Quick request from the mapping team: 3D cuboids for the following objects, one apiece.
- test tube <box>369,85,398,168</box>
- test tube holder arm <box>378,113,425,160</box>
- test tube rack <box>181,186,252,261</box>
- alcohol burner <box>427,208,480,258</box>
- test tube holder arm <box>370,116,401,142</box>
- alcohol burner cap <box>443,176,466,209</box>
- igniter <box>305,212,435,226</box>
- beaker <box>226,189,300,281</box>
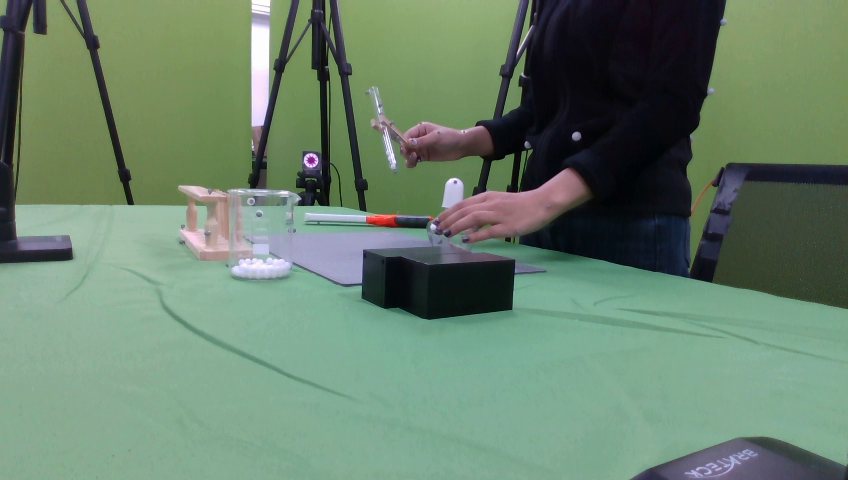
[{"bbox_3d":[-0.066,-0.187,0.993,0.017,0.150,0.017,-14,-15,-4],"label":"test tube"},{"bbox_3d":[-0.036,-0.177,1.054,0.013,0.015,0.179,-18,-20,19],"label":"test tube holder arm"},{"bbox_3d":[-0.312,-0.031,0.893,0.067,0.085,0.241,-1,8,-27],"label":"test tube rack"},{"bbox_3d":[0.043,-0.034,0.891,0.078,0.119,0.078,1,6,0],"label":"alcohol burner"},{"bbox_3d":[-0.061,-0.185,1.016,0.010,0.015,0.088,-21,-21,26],"label":"test tube holder arm"},{"bbox_3d":[0.047,-0.069,0.888,0.034,0.048,0.034,7,5,0],"label":"alcohol burner cap"},{"bbox_3d":[-0.114,-0.046,1.296,0.277,0.025,0.057,1,-2,-11],"label":"igniter"},{"bbox_3d":[-0.184,-0.007,0.694,0.084,0.100,0.073,-1,8,-29],"label":"beaker"}]
